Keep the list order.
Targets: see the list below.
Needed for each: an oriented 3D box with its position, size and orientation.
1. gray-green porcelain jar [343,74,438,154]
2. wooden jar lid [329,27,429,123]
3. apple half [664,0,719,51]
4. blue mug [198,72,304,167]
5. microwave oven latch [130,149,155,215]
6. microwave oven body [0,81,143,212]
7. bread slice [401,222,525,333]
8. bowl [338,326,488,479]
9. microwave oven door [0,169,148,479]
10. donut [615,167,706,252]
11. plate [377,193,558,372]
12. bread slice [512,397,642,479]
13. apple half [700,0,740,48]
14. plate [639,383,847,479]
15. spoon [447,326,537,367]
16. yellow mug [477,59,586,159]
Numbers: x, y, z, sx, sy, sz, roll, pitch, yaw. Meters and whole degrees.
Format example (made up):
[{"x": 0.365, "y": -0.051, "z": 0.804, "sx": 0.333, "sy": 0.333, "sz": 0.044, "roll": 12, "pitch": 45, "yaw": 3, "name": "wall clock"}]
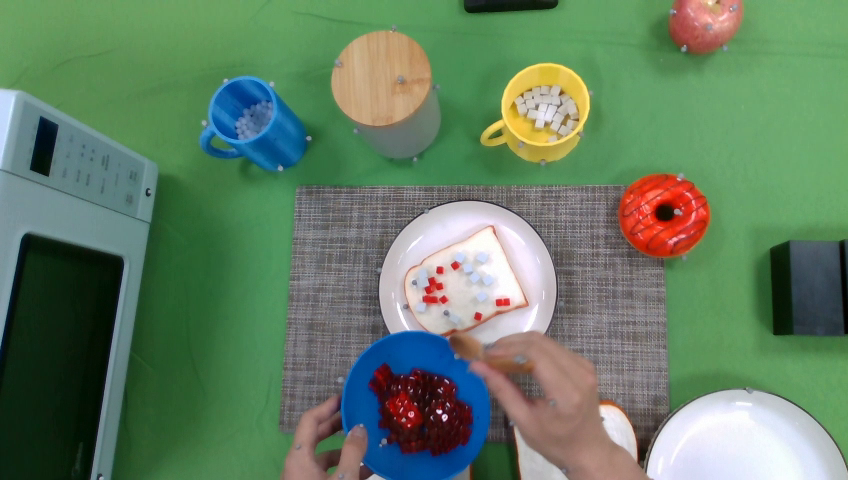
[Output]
[{"x": -0.039, "y": -0.164, "z": 0.712, "sx": 0.106, "sy": 0.127, "sz": 0.105, "roll": -1, "pitch": 80, "yaw": 7, "name": "gray-green porcelain jar"}, {"x": -0.047, "y": -0.175, "z": 0.651, "sx": 0.108, "sy": 0.021, "sz": 0.108, "roll": -2, "pitch": 79, "yaw": 8, "name": "wooden jar lid"}, {"x": 0.302, "y": -0.249, "z": 0.707, "sx": 0.033, "sy": 0.081, "sz": 0.081, "roll": -32, "pitch": 78, "yaw": -3, "name": "apple half"}, {"x": -0.217, "y": -0.137, "z": 0.740, "sx": 0.116, "sy": 0.106, "sz": 0.082, "roll": -25, "pitch": 78, "yaw": 3, "name": "blue mug"}, {"x": -0.362, "y": -0.074, "z": 0.764, "sx": 0.030, "sy": 0.029, "sz": 0.079, "roll": 6, "pitch": 82, "yaw": 8, "name": "microwave oven latch"}, {"x": -0.537, "y": 0.075, "z": 0.664, "sx": 0.325, "sy": 0.261, "sz": 0.440, "roll": 4, "pitch": 82, "yaw": 7, "name": "microwave oven body"}, {"x": 0.040, "y": 0.051, "z": 0.711, "sx": 0.131, "sy": 0.019, "sz": 0.104, "roll": -25, "pitch": 79, "yaw": 0, "name": "bread slice"}, {"x": -0.018, "y": 0.171, "z": 0.624, "sx": 0.152, "sy": 0.077, "sz": 0.150, "roll": 6, "pitch": 65, "yaw": -13, "name": "bowl"}, {"x": -0.397, "y": 0.126, "z": 0.633, "sx": 0.039, "sy": 0.245, "sz": 0.354, "roll": 4, "pitch": 81, "yaw": 8, "name": "microwave oven door"}, {"x": 0.267, "y": -0.034, "z": 0.690, "sx": 0.099, "sy": 0.048, "sz": 0.098, "roll": -1, "pitch": 82, "yaw": 7, "name": "donut"}, {"x": 0.050, "y": 0.050, "z": 0.708, "sx": 0.207, "sy": 0.039, "sz": 0.207, "roll": -1, "pitch": 81, "yaw": 7, "name": "plate"}, {"x": 0.166, "y": 0.223, "z": 0.642, "sx": 0.135, "sy": 0.018, "sz": 0.106, "roll": -4, "pitch": 77, "yaw": -14, "name": "bread slice"}, {"x": 0.334, "y": -0.270, "z": 0.708, "sx": 0.053, "sy": 0.075, "sz": 0.080, "roll": -31, "pitch": 74, "yaw": -4, "name": "apple half"}, {"x": 0.333, "y": 0.256, "z": 0.642, "sx": 0.209, "sy": 0.038, "sz": 0.208, "roll": -1, "pitch": 81, "yaw": 8, "name": "plate"}, {"x": 0.055, "y": 0.093, "z": 0.511, "sx": 0.042, "sy": 0.193, "sz": 0.021, "roll": 43, "pitch": 81, "yaw": -6, "name": "spoon"}, {"x": 0.124, "y": -0.148, "z": 0.719, "sx": 0.131, "sy": 0.064, "sz": 0.099, "roll": -23, "pitch": 79, "yaw": 4, "name": "yellow mug"}]
